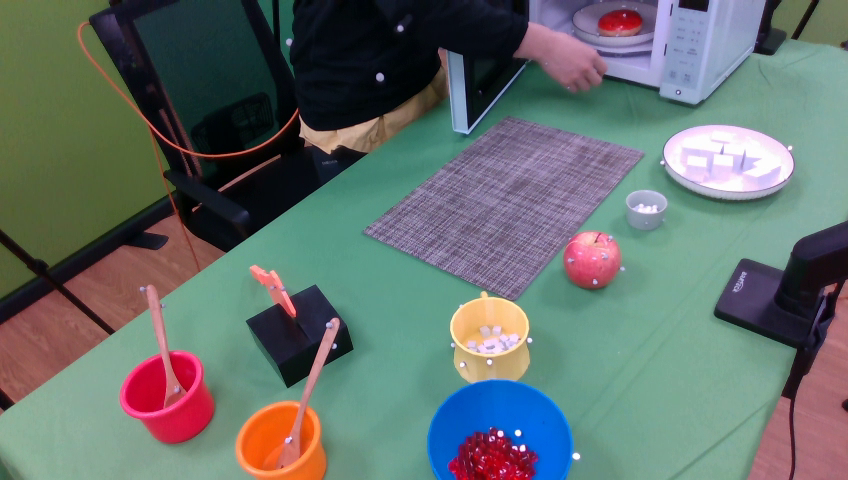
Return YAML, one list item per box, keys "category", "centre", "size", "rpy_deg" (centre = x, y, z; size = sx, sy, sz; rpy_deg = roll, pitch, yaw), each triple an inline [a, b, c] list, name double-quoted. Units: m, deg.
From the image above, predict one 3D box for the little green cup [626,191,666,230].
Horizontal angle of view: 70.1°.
- category: "little green cup"
  centre: [0.352, -0.046, 0.963]
  size: [0.061, 0.039, 0.061]
  rpy_deg: [-4, 40, 4]

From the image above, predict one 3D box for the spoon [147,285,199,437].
- category: "spoon"
  centre: [-0.319, 0.148, 0.754]
  size: [0.042, 0.021, 0.193]
  rpy_deg: [-14, 85, -11]

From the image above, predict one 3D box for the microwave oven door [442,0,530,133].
- category: "microwave oven door"
  centre: [0.139, -0.414, 1.242]
  size: [0.039, 0.245, 0.356]
  rpy_deg: [15, 45, 24]

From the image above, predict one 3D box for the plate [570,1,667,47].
- category: "plate"
  centre: [0.437, -0.485, 1.368]
  size: [0.209, 0.038, 0.208]
  rpy_deg: [-5, 41, 5]

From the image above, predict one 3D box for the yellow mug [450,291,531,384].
- category: "yellow mug"
  centre: [0.085, 0.120, 0.786]
  size: [0.100, 0.064, 0.130]
  rpy_deg: [-7, 39, 1]

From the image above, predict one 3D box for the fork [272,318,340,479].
- category: "fork"
  centre: [-0.131, 0.186, 0.676]
  size: [0.028, 0.019, 0.207]
  rpy_deg: [17, 90, 28]

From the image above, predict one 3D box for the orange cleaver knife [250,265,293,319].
- category: "orange cleaver knife"
  centre: [-0.222, 0.073, 0.876]
  size: [0.012, 0.077, 0.210]
  rpy_deg: [-24, 13, -22]

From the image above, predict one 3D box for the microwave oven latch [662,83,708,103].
- category: "microwave oven latch"
  centre: [0.518, -0.296, 1.204]
  size: [0.078, 0.029, 0.030]
  rpy_deg: [28, 52, 35]

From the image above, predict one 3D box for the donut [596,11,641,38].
- category: "donut"
  centre: [0.433, -0.479, 1.347]
  size: [0.099, 0.048, 0.098]
  rpy_deg: [-6, 39, 5]

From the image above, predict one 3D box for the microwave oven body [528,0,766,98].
- category: "microwave oven body"
  centre: [0.472, -0.513, 1.317]
  size: [0.438, 0.261, 0.327]
  rpy_deg: [25, 51, 34]

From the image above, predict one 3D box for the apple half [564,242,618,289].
- category: "apple half"
  centre: [0.229, 0.044, 0.848]
  size: [0.081, 0.081, 0.033]
  rpy_deg: [16, 41, 26]

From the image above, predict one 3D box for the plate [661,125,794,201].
- category: "plate"
  centre: [0.513, -0.128, 1.035]
  size: [0.207, 0.039, 0.206]
  rpy_deg: [-4, 40, 4]

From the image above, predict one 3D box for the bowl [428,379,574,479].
- category: "bowl"
  centre: [0.082, 0.233, 0.644]
  size: [0.151, 0.077, 0.150]
  rpy_deg: [-4, 39, 4]

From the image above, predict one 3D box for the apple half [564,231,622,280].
- category: "apple half"
  centre: [0.248, 0.021, 0.874]
  size: [0.080, 0.075, 0.053]
  rpy_deg: [13, 40, 29]
